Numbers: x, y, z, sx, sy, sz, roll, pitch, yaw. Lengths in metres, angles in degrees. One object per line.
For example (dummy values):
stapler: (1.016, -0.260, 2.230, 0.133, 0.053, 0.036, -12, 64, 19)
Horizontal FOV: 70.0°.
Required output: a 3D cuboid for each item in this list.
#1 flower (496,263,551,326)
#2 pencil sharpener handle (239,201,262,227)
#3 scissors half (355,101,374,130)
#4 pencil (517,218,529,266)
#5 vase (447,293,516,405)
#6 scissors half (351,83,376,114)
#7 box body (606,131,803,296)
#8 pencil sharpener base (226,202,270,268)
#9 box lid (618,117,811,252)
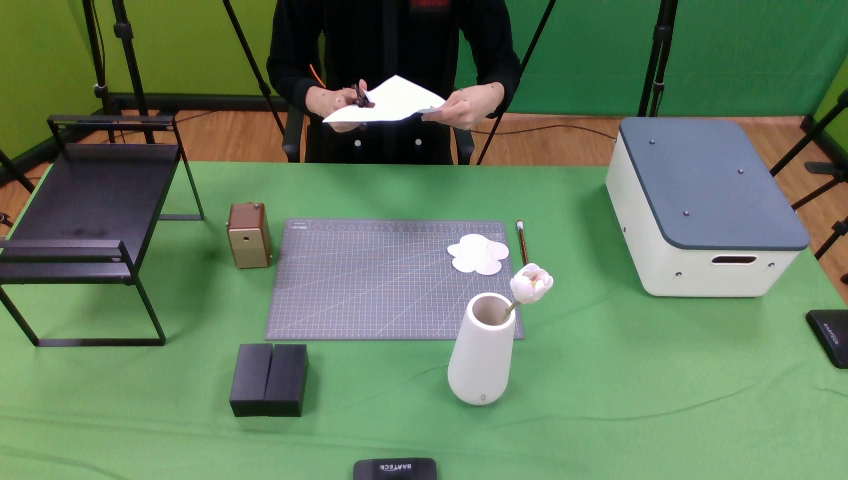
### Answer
flower: (0.102, 0.120, 0.853, 0.044, 0.363, 0.038, -2, 64, -10)
pencil sharpener handle: (-0.325, -0.056, 1.150, 0.036, 0.068, 0.030, -13, 46, 4)
scissors half: (-0.103, -0.223, 1.067, 0.013, 0.175, 0.040, -11, 92, -13)
pencil: (0.200, 0.028, 1.196, 0.012, 0.012, 0.193, 1, 48, -3)
vase: (0.091, 0.169, 0.921, 0.098, 0.201, 0.097, 3, 47, -3)
scissors half: (-0.107, -0.245, 1.061, 0.013, 0.040, 0.174, -16, 30, -12)
box body: (0.530, -0.067, 1.204, 0.254, 0.161, 0.361, 0, 46, -4)
pencil sharpener base: (-0.323, -0.010, 1.123, 0.061, 0.107, 0.076, -3, 46, -7)
box lid: (0.534, -0.117, 1.149, 0.263, 0.015, 0.369, 0, 47, -3)
